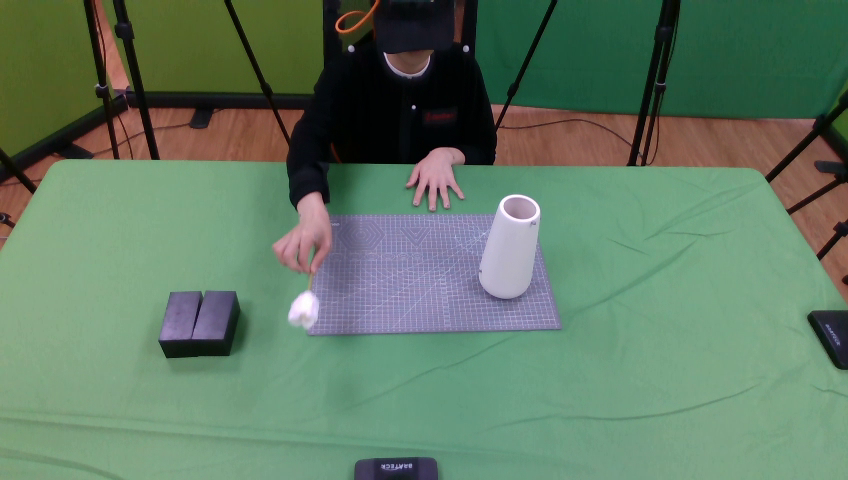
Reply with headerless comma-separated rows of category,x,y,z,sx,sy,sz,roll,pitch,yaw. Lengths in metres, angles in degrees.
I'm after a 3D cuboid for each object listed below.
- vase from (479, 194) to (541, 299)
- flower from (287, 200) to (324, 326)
vase,0.152,0.015,1.066,0.098,0.201,0.097,1,47,-1
flower,-0.192,0.021,1.050,0.044,0.038,0.359,-12,33,5
